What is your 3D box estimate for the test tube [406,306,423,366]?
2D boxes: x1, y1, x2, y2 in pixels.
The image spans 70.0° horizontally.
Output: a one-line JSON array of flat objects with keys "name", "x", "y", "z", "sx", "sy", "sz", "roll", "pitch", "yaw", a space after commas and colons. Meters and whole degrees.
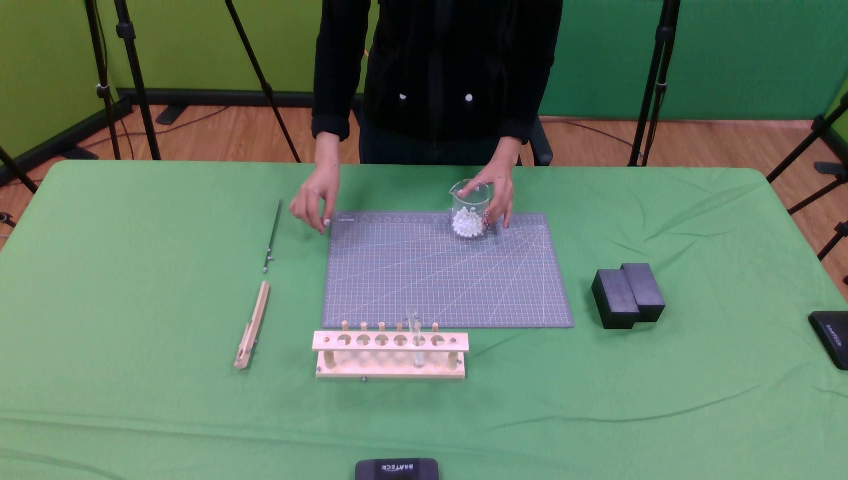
[{"name": "test tube", "x": -0.013, "y": 0.152, "z": 0.939, "sx": 0.017, "sy": 0.151, "sz": 0.017, "roll": -3, "pitch": 48, "yaw": 3}]

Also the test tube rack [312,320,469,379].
[{"name": "test tube rack", "x": -0.054, "y": 0.173, "z": 0.984, "sx": 0.242, "sy": 0.085, "sz": 0.066, "roll": 1, "pitch": 46, "yaw": -3}]

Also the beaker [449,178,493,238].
[{"name": "beaker", "x": 0.088, "y": -0.061, "z": 1.193, "sx": 0.084, "sy": 0.101, "sz": 0.073, "roll": 6, "pitch": 46, "yaw": 3}]

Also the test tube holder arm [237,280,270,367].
[{"name": "test tube holder arm", "x": -0.291, "y": 0.140, "z": 1.042, "sx": 0.013, "sy": 0.015, "sz": 0.177, "roll": -17, "pitch": 41, "yaw": 22}]

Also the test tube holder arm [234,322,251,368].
[{"name": "test tube holder arm", "x": -0.299, "y": 0.173, "z": 1.013, "sx": 0.010, "sy": 0.015, "sz": 0.087, "roll": -17, "pitch": 41, "yaw": 22}]

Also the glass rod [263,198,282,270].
[{"name": "glass rod", "x": -0.299, "y": -0.017, "z": 1.202, "sx": 0.008, "sy": 0.008, "sz": 0.198, "roll": 1, "pitch": 46, "yaw": -2}]
